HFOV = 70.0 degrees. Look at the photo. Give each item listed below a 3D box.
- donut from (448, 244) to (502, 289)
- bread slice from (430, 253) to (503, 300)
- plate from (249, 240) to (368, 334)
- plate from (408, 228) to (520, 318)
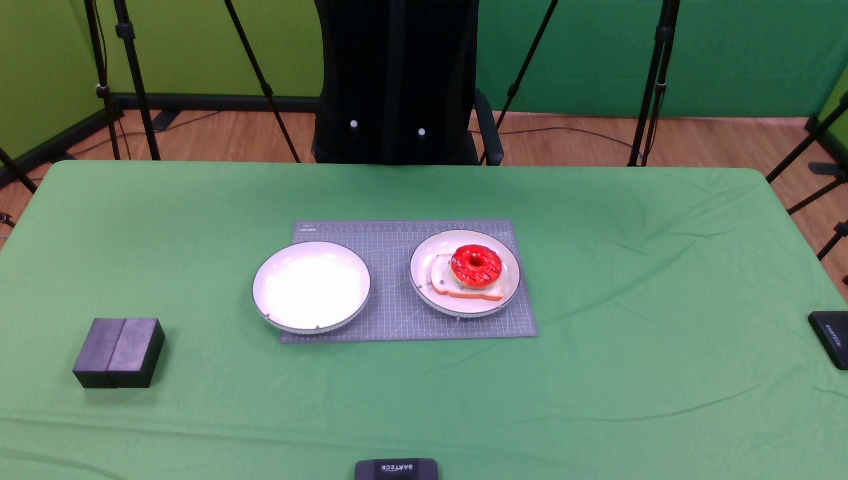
[{"bbox_3d":[0.092,0.048,1.105,0.099,0.048,0.098,3,45,-3],"label":"donut"},{"bbox_3d":[0.078,0.067,1.125,0.134,0.018,0.106,0,45,-2],"label":"bread slice"},{"bbox_3d":[-0.204,0.086,1.084,0.208,0.039,0.206,2,46,-2],"label":"plate"},{"bbox_3d":[0.074,0.063,1.128,0.209,0.038,0.208,2,46,-2],"label":"plate"}]
